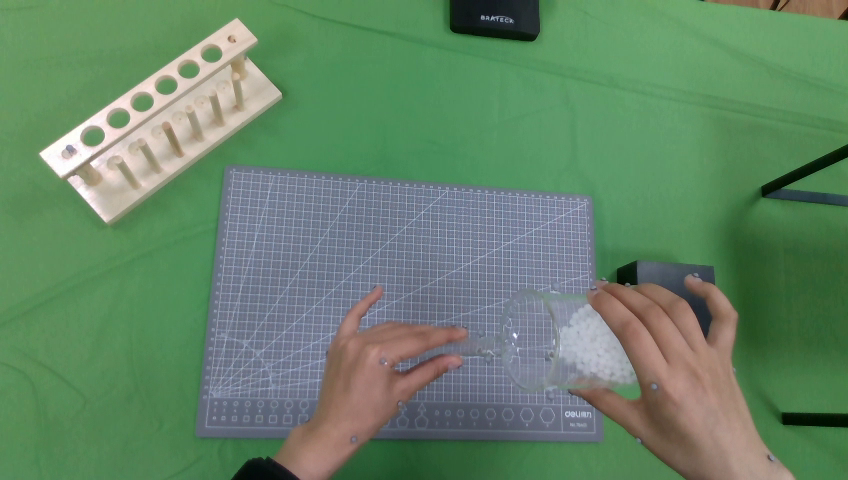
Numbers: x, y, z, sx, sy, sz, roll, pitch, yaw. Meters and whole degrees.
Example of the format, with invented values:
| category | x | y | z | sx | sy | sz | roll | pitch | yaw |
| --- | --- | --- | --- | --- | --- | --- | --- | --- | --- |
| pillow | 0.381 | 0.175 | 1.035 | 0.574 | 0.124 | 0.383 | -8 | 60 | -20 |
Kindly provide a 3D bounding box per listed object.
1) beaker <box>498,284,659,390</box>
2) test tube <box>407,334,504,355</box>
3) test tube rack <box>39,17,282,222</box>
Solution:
| category | x | y | z | sx | sy | sz | roll | pitch | yaw |
| --- | --- | --- | --- | --- | --- | --- | --- | --- | --- |
| beaker | 0.115 | 0.075 | 0.456 | 0.101 | 0.084 | 0.073 | 5 | 73 | -24 |
| test tube | 0.023 | 0.094 | 0.535 | 0.017 | 0.150 | 0.017 | 6 | 78 | -27 |
| test tube rack | -0.271 | -0.130 | 0.657 | 0.242 | 0.085 | 0.066 | -42 | 86 | -17 |
